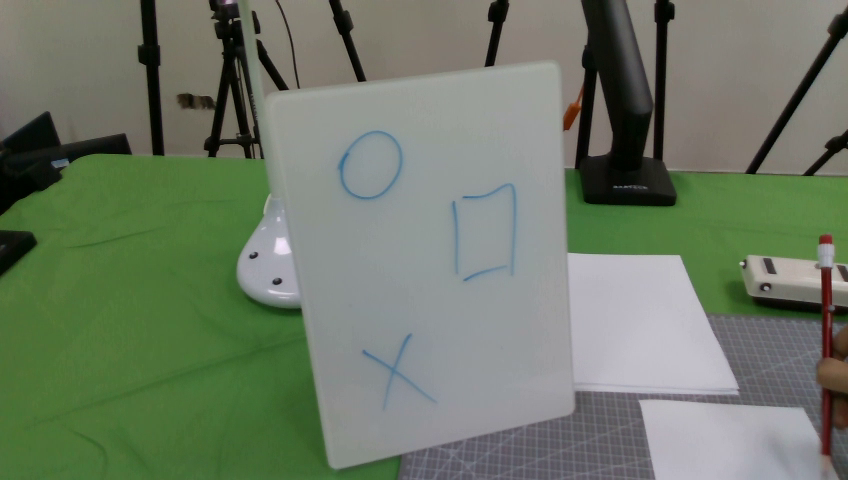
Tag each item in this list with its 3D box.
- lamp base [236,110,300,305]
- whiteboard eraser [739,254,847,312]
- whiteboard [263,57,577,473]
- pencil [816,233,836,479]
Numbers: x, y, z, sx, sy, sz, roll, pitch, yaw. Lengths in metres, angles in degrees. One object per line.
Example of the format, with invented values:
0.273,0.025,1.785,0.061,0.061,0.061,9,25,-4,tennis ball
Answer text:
-0.151,-0.045,0.682,0.161,0.182,0.177,-27,39,-31,lamp base
0.400,0.046,0.644,0.112,0.042,0.055,7,36,12,whiteboard eraser
-0.001,0.011,0.535,0.217,0.307,0.143,-10,16,-9,whiteboard
0.318,0.087,0.478,0.012,0.012,0.193,5,75,11,pencil
